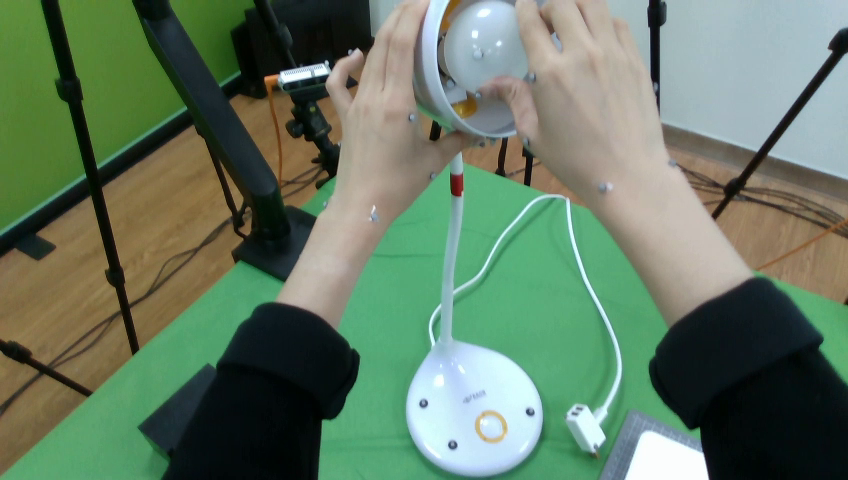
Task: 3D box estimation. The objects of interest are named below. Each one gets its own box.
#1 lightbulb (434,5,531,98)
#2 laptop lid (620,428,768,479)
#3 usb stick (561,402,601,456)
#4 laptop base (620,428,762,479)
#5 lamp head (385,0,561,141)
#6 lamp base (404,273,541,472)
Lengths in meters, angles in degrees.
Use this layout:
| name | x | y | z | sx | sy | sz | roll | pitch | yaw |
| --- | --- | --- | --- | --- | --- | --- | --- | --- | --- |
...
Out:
| name | x | y | z | sx | sy | sz | roll | pitch | yaw |
| --- | --- | --- | --- | --- | --- | --- | --- | --- | --- |
| lightbulb | 0.032 | -0.130 | 0.431 | 0.059 | 0.060 | 0.107 | -25 | 18 | -21 |
| laptop lid | 0.337 | 0.341 | 0.553 | 0.354 | 0.013 | 0.241 | 22 | 53 | 21 |
| usb stick | 0.179 | 0.213 | 0.678 | 0.027 | 0.059 | 0.021 | -33 | 11 | -32 |
| laptop base | 0.339 | 0.348 | 0.563 | 0.352 | 0.023 | 0.234 | 21 | 53 | 20 |
| lamp head | 0.025 | -0.132 | 0.459 | 0.112 | 0.113 | 0.122 | -29 | 20 | -24 |
| lamp base | 0.047 | 0.133 | 0.664 | 0.161 | 0.182 | 0.177 | -28 | 48 | -24 |
